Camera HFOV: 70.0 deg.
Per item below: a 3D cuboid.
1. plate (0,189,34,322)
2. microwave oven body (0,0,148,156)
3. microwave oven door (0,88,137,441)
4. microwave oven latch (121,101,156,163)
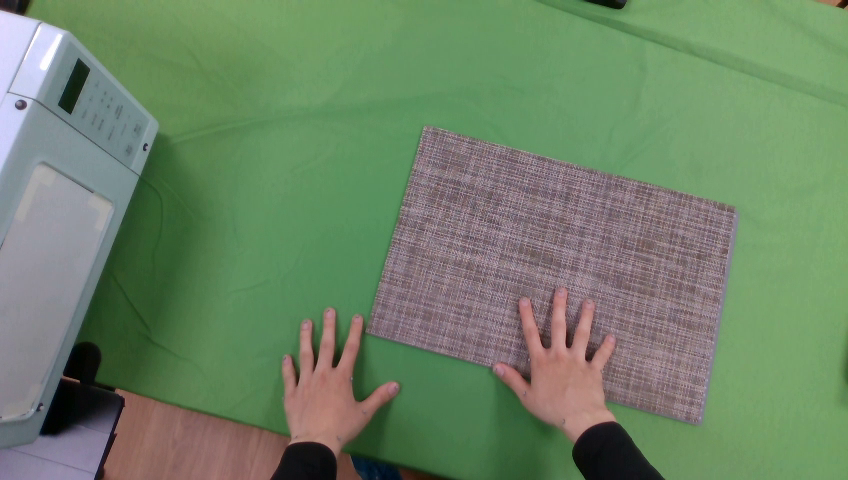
[{"bbox_3d":[-0.565,0.023,0.719,0.209,0.038,0.208,1,82,-3],"label":"plate"},{"bbox_3d":[-0.567,-0.034,0.670,0.326,0.261,0.440,16,80,0],"label":"microwave oven body"},{"bbox_3d":[-0.438,0.044,0.657,0.039,0.244,0.354,15,79,1],"label":"microwave oven door"},{"bbox_3d":[-0.380,-0.144,0.795,0.030,0.029,0.079,18,80,1],"label":"microwave oven latch"}]
